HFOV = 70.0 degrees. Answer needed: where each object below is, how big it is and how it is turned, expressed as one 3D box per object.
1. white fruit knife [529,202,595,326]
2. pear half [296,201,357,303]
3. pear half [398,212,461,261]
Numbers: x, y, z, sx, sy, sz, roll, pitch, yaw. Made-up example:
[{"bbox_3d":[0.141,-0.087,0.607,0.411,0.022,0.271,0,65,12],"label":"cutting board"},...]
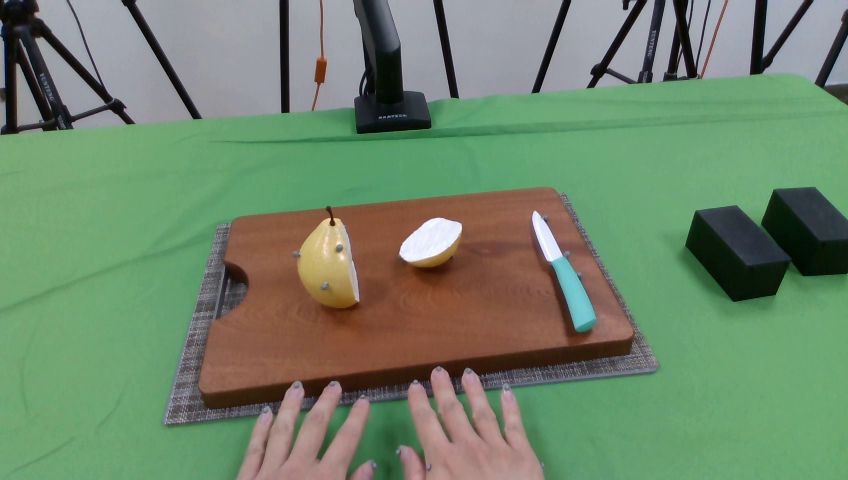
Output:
[{"bbox_3d":[0.140,0.016,0.637,0.027,0.016,0.205,7,36,-12],"label":"white fruit knife"},{"bbox_3d":[-0.097,0.009,0.583,0.056,0.111,0.075,-11,36,-10],"label":"pear half"},{"bbox_3d":[0.009,0.001,0.649,0.070,0.031,0.087,-11,23,13],"label":"pear half"}]
